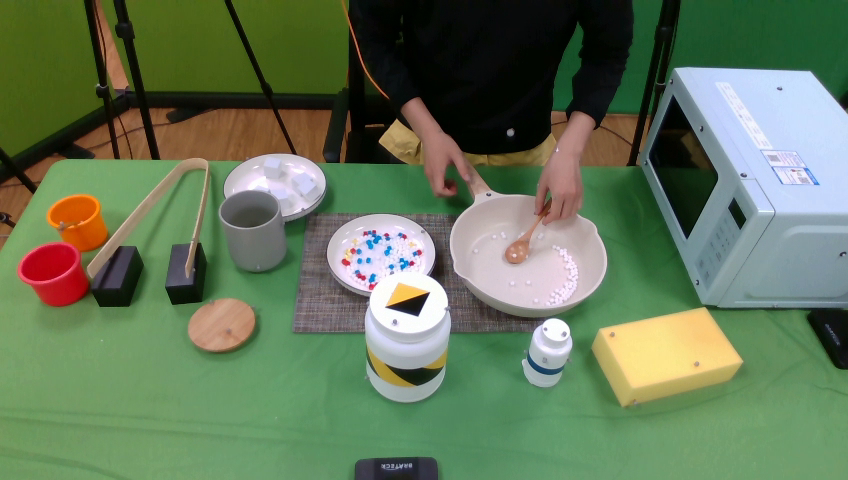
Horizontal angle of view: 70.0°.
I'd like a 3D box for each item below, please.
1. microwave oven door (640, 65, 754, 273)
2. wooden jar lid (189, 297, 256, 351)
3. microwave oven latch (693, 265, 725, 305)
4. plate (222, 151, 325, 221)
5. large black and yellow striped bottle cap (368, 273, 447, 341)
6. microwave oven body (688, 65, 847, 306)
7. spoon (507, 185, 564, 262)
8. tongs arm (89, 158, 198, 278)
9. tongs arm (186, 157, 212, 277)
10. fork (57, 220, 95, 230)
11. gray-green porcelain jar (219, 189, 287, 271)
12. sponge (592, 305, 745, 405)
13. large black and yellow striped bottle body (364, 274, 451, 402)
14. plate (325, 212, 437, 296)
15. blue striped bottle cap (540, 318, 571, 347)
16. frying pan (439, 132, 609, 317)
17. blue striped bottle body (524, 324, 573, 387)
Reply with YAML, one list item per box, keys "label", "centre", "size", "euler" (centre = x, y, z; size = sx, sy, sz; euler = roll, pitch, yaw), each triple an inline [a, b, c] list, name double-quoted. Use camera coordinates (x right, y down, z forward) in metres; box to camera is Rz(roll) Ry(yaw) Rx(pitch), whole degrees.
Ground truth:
- label: "microwave oven door"
  centre: [0.524, -0.147, 1.193]
  size: [0.039, 0.245, 0.353]
  euler: [0, 47, -3]
- label: "wooden jar lid"
  centre: [-0.342, 0.145, 1.033]
  size: [0.108, 0.021, 0.107]
  euler: [2, 45, -2]
- label: "microwave oven latch"
  centre: [0.523, 0.082, 1.116]
  size: [0.030, 0.029, 0.078]
  euler: [2, 46, -1]
- label: "plate"
  centre: [-0.310, -0.106, 1.263]
  size: [0.208, 0.039, 0.206]
  euler: [2, 47, -2]
- label: "large black and yellow striped bottle cap"
  centre: [-0.023, 0.094, 0.875]
  size: [0.115, 0.019, 0.114]
  euler: [2, 45, -2]
- label: "microwave oven body"
  centre: [0.669, -0.111, 1.176]
  size: [0.326, 0.261, 0.439]
  euler: [0, 46, -3]
- label: "spoon"
  centre: [0.224, -0.034, 1.188]
  size: [0.041, 0.022, 0.193]
  euler: [25, 76, 40]
- label: "tongs arm"
  centre: [-0.529, -0.058, 1.164]
  size: [0.028, 0.028, 0.385]
  euler: [1, 36, 8]
- label: "tongs arm"
  centre: [-0.445, -0.058, 1.168]
  size: [0.051, 0.026, 0.382]
  euler: [-5, 37, -6]
- label: "fork"
  centre: [-0.624, -0.027, 1.086]
  size: [0.028, 0.207, 0.018]
  euler: [-3, 92, -17]
- label: "gray-green porcelain jar"
  centre: [-0.310, -0.014, 1.113]
  size: [0.106, 0.127, 0.105]
  euler: [2, 46, -2]
- label: "sponge"
  centre: [0.405, 0.190, 1.014]
  size: [0.207, 0.061, 0.117]
  euler: [-10, 48, -13]
- label: "large black and yellow striped bottle body"
  centre: [-0.026, 0.151, 0.937]
  size: [0.131, 0.185, 0.130]
  euler: [2, 47, -2]
- label: "plate"
  centre: [-0.080, 0.030, 1.143]
  size: [0.209, 0.038, 0.208]
  euler: [2, 46, -2]
- label: "blue striped bottle cap"
  centre: [0.203, 0.142, 0.933]
  size: [0.044, 0.021, 0.044]
  euler: [3, 49, -3]
- label: "frying pan"
  centre: [0.149, -0.049, 1.189]
  size: [0.307, 0.103, 0.484]
  euler: [-17, 58, -20]
- label: "blue striped bottle body"
  centre: [0.200, 0.178, 0.970]
  size: [0.063, 0.121, 0.062]
  euler: [2, 46, -2]
